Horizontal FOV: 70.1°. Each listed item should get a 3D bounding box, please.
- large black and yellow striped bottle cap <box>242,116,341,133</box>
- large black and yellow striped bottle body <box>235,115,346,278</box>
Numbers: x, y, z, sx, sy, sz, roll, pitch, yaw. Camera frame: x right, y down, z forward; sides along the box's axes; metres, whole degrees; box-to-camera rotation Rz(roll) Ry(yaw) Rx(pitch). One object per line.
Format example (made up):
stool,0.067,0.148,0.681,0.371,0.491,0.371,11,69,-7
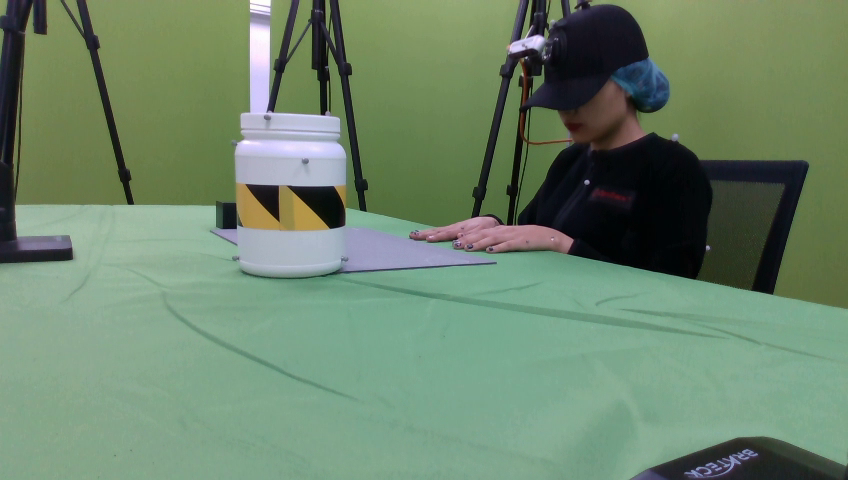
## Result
large black and yellow striped bottle cap,-0.157,-0.137,0.718,0.115,0.019,0.115,1,10,0
large black and yellow striped bottle body,-0.160,-0.055,0.732,0.131,0.184,0.130,2,9,0
